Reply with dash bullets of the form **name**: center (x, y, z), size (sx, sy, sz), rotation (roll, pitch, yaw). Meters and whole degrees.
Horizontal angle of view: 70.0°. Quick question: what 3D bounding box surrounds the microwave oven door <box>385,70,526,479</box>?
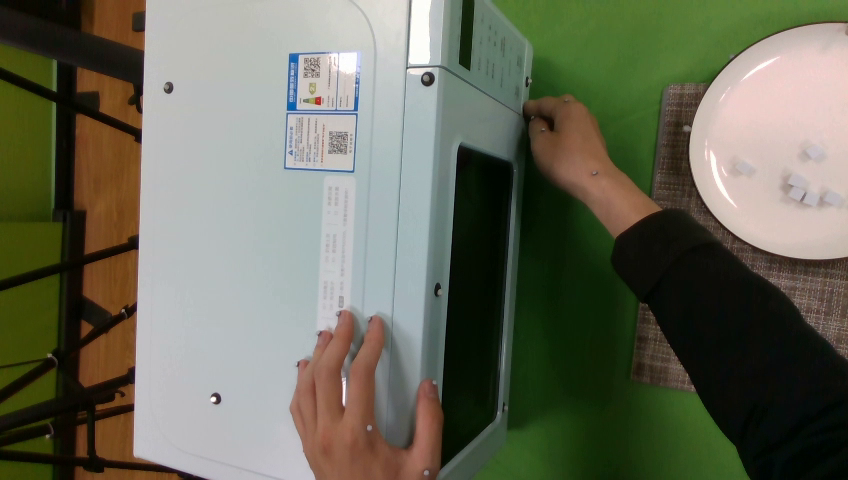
- **microwave oven door**: center (0.035, 0.048, 0.558), size (0.039, 0.245, 0.356), rotation (5, 94, 25)

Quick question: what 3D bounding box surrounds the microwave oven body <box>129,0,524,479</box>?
- **microwave oven body**: center (-0.093, -0.006, 0.619), size (0.324, 0.261, 0.442), rotation (5, 95, 24)

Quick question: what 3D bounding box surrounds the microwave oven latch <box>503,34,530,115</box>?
- **microwave oven latch**: center (0.093, -0.173, 0.634), size (0.030, 0.029, 0.079), rotation (9, 96, 23)

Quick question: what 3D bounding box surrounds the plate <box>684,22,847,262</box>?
- **plate**: center (0.344, -0.084, 0.539), size (0.208, 0.038, 0.209), rotation (1, 92, 24)
